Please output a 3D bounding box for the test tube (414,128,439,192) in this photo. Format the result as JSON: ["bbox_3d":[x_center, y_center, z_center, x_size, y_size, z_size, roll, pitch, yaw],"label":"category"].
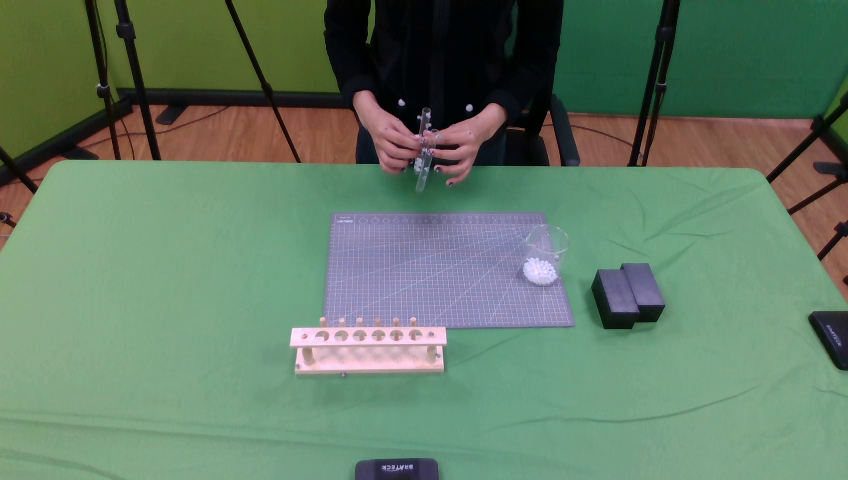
[{"bbox_3d":[0.004,-0.143,1.112,0.017,0.151,0.017,8,49,-9],"label":"test tube"}]

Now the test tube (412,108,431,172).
[{"bbox_3d":[-0.006,-0.180,1.110,0.017,0.151,0.017,5,51,-6],"label":"test tube"}]

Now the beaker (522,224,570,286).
[{"bbox_3d":[0.221,0.032,1.129,0.084,0.101,0.073,-6,46,-9],"label":"beaker"}]

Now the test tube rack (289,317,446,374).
[{"bbox_3d":[-0.089,0.167,0.988,0.242,0.085,0.066,0,46,-4],"label":"test tube rack"}]
